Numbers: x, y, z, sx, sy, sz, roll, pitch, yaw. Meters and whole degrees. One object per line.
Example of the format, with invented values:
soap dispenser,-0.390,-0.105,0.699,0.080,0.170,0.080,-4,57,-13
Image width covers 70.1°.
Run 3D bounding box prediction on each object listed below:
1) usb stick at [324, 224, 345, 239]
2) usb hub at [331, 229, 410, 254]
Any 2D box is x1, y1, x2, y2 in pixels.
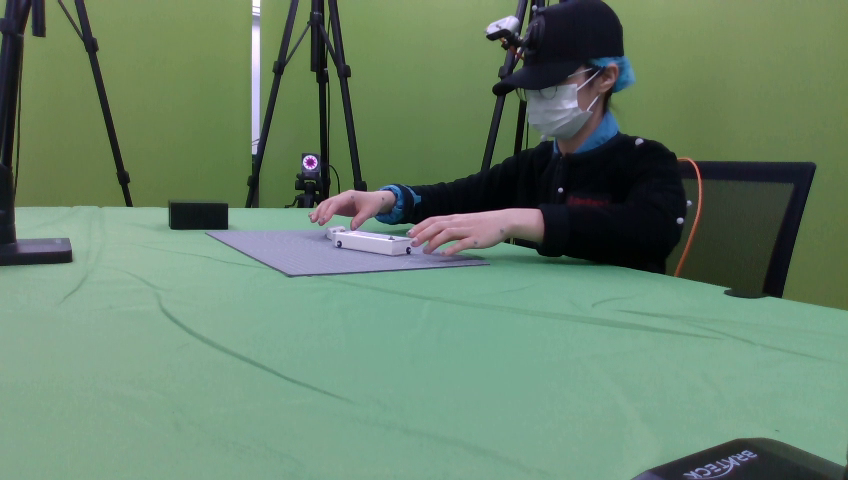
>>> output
usb stick,-0.153,-0.015,1.051,0.027,0.021,0.059,-13,11,-25
usb hub,-0.085,0.001,0.945,0.124,0.025,0.050,7,10,35
